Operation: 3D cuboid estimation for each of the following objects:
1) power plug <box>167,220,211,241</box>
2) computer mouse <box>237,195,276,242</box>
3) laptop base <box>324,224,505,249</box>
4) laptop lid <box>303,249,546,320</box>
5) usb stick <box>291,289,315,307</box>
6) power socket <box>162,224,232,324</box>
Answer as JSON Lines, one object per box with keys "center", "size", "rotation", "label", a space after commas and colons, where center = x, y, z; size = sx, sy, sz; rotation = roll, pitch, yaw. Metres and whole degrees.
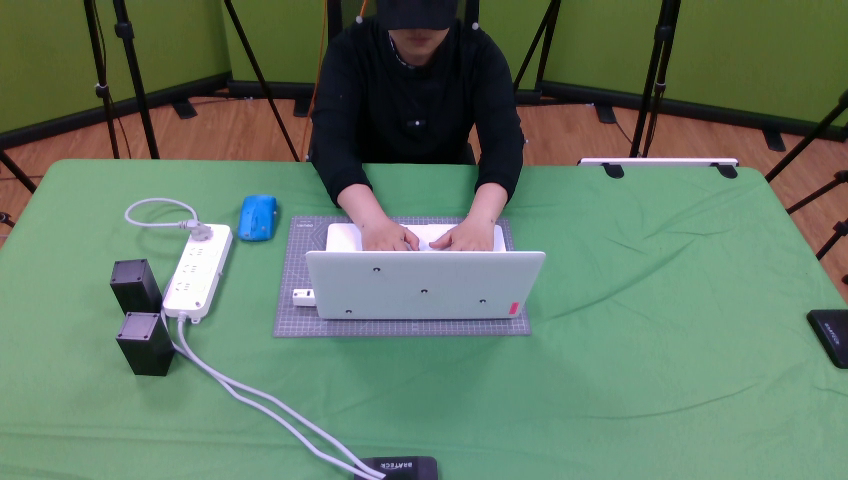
{"center": [-0.438, -0.016, 1.143], "size": [0.072, 0.053, 0.035], "rotation": [9, 42, 6], "label": "power plug"}
{"center": [-0.333, -0.047, 1.207], "size": [0.063, 0.041, 0.116], "rotation": [3, 50, -5], "label": "computer mouse"}
{"center": [-0.014, 0.056, 1.144], "size": [0.355, 0.023, 0.234], "rotation": [0, 42, -4], "label": "laptop base"}
{"center": [-0.002, 0.077, 0.962], "size": [0.357, 0.243, 0.013], "rotation": [1, 58, -5], "label": "laptop lid"}
{"center": [-0.203, 0.102, 1.066], "size": [0.059, 0.027, 0.021], "rotation": [4, 45, -5], "label": "usb stick"}
{"center": [-0.411, 0.053, 1.106], "size": [0.072, 0.033, 0.225], "rotation": [3, 45, -1], "label": "power socket"}
